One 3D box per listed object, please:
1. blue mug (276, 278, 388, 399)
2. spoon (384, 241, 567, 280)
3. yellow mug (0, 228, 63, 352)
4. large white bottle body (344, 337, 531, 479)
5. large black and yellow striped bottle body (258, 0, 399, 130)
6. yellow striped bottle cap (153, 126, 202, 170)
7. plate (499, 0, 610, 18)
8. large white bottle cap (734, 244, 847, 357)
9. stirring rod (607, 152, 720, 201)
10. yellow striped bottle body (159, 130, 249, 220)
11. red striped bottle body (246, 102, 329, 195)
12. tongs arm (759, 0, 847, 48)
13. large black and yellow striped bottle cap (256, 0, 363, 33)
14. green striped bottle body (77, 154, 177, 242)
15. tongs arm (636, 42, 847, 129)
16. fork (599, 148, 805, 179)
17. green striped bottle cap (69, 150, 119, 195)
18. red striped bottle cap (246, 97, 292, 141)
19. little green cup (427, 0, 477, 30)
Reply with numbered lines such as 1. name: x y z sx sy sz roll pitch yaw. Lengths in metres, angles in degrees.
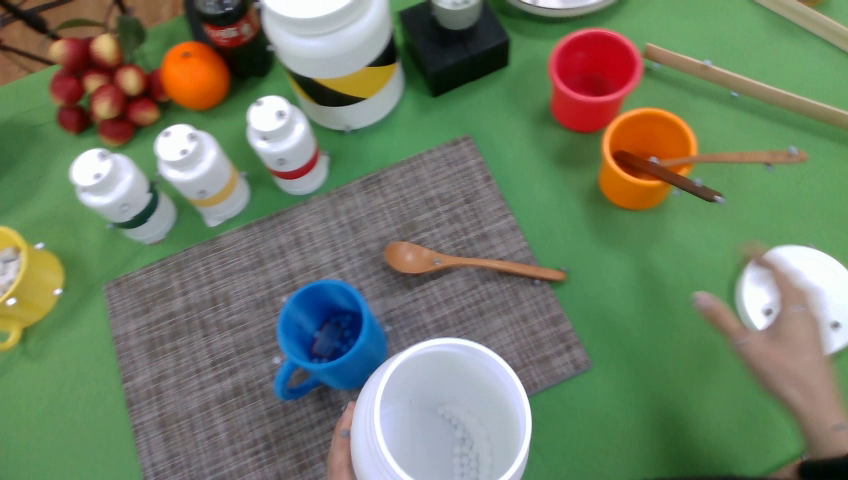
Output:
1. blue mug: -0.094 0.104 0.577 0.082 0.106 0.116 38 76 19
2. spoon: 0.053 0.026 0.639 0.193 0.022 0.041 5 46 7
3. yellow mug: -0.459 0.057 0.657 0.100 0.064 0.130 -14 68 0
4. large white bottle body: 0.006 0.160 0.478 0.131 0.186 0.129 5 59 -8
5. large black and yellow striped bottle body: -0.103 -0.223 0.672 0.130 0.185 0.130 -2 67 5
6. yellow striped bottle cap: -0.248 -0.093 0.611 0.044 0.019 0.044 -1 63 2
7. plate: 0.168 -0.366 0.782 0.209 0.038 0.207 -2 68 5
8. large white bottle cap: 0.370 0.058 0.600 0.115 0.018 0.114 -2 67 5
9. stirring rod: 0.231 -0.066 0.601 0.014 0.006 0.174 -21 24 -6
10. yellow striped bottle body: -0.242 -0.074 0.659 0.063 0.121 0.062 -2 67 6
11. red striped bottle body: -0.151 -0.102 0.662 0.063 0.120 0.062 -3 67 8
12. tongs arm: 0.483 -0.231 0.700 0.028 0.028 0.385 -41 70 -19
13. large black and yellow striped bottle cap: -0.111 -0.255 0.592 0.115 0.019 0.114 -3 70 7
14. green striped bottle body: -0.325 -0.048 0.658 0.063 0.120 0.062 -2 67 5
15. tongs arm: 0.430 -0.162 0.674 0.383 0.027 0.050 26 69 14
16. fork: 0.260 -0.077 0.595 0.206 0.019 0.028 3 59 55
17. green striped bottle cap: -0.332 -0.068 0.610 0.044 0.020 0.044 -1 66 4
18. red striped bottle cap: -0.157 -0.123 0.614 0.044 0.018 0.044 -1 65 2
19. little green cup: 0.033 -0.277 0.704 0.061 0.039 0.061 -2 65 4
